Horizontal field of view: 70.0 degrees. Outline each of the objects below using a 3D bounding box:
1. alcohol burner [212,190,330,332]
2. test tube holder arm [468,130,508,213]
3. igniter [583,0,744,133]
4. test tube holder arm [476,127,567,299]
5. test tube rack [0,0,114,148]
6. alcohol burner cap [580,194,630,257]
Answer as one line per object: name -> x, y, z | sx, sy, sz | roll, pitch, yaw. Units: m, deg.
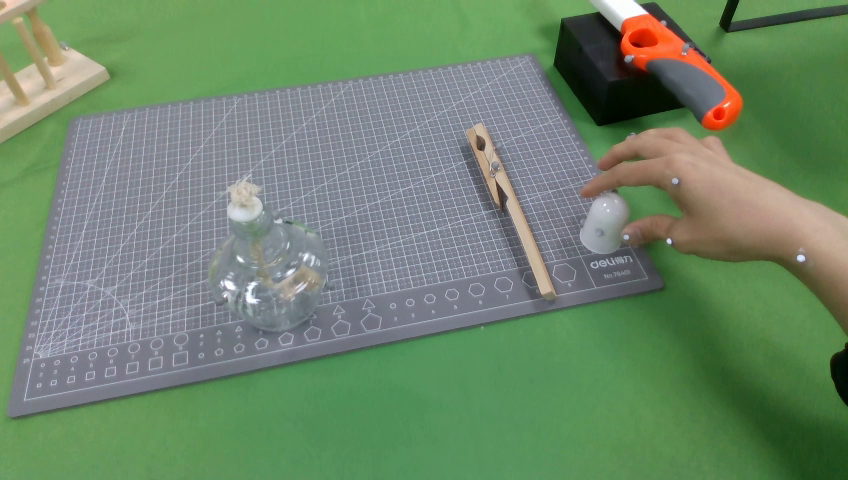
alcohol burner -> -0.102, 0.009, 0.392 | 0.078, 0.120, 0.077 | -1, 53, 1
test tube holder arm -> 0.056, -0.059, 0.508 | 0.010, 0.015, 0.087 | -35, 51, 21
igniter -> 0.194, -0.185, 0.543 | 0.057, 0.025, 0.273 | -16, 51, -8
test tube holder arm -> 0.073, -0.028, 0.479 | 0.013, 0.015, 0.176 | -36, 50, 20
test tube rack -> -0.407, -0.124, 0.523 | 0.066, 0.086, 0.242 | 30, 57, 23
alcohol burner cap -> 0.136, -0.014, 0.453 | 0.034, 0.048, 0.033 | -1, 50, 2
